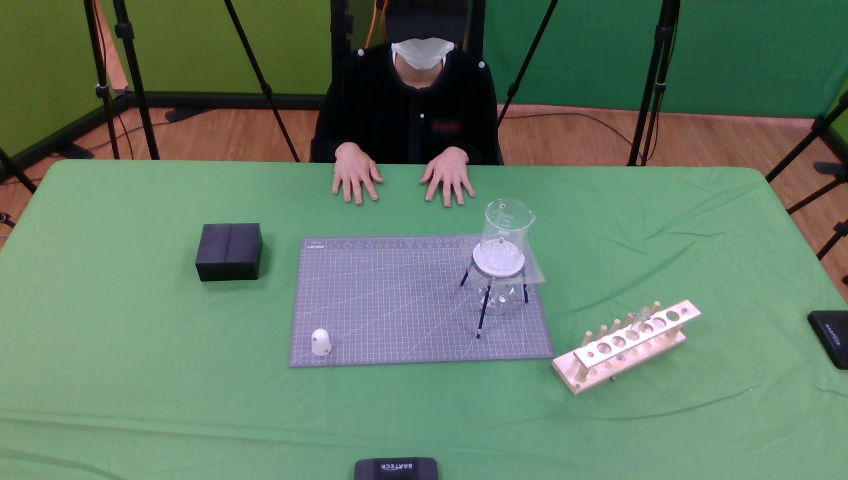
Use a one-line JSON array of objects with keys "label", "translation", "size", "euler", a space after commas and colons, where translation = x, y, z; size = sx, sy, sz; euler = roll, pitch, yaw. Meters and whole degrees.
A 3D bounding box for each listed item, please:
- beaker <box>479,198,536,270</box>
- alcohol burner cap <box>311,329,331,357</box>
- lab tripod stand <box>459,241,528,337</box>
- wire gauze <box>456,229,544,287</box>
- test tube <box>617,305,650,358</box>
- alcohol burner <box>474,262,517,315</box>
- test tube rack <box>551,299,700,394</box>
[{"label": "beaker", "translation": [0.131, -0.007, 0.975], "size": [0.084, 0.101, 0.073], "euler": [2, 46, -3]}, {"label": "alcohol burner cap", "translation": [-0.173, 0.168, 1.005], "size": [0.034, 0.048, 0.033], "euler": [2, 46, -2]}, {"label": "lab tripod stand", "translation": [0.122, 0.075, 1.054], "size": [0.148, 0.132, 0.147], "euler": [3, 44, -3]}, {"label": "wire gauze", "translation": [0.125, 0.030, 1.008], "size": [0.125, 0.011, 0.120], "euler": [-3, 48, -11]}, {"label": "test tube", "translation": [0.333, 0.149, 0.967], "size": [0.017, 0.151, 0.017], "euler": [0, 52, 1]}, {"label": "alcohol burner", "translation": [0.128, 0.078, 1.066], "size": [0.078, 0.119, 0.077], "euler": [2, 48, -2]}, {"label": "test tube rack", "translation": [0.339, 0.166, 1.021], "size": [0.242, 0.085, 0.066], "euler": [-19, 50, -21]}]
